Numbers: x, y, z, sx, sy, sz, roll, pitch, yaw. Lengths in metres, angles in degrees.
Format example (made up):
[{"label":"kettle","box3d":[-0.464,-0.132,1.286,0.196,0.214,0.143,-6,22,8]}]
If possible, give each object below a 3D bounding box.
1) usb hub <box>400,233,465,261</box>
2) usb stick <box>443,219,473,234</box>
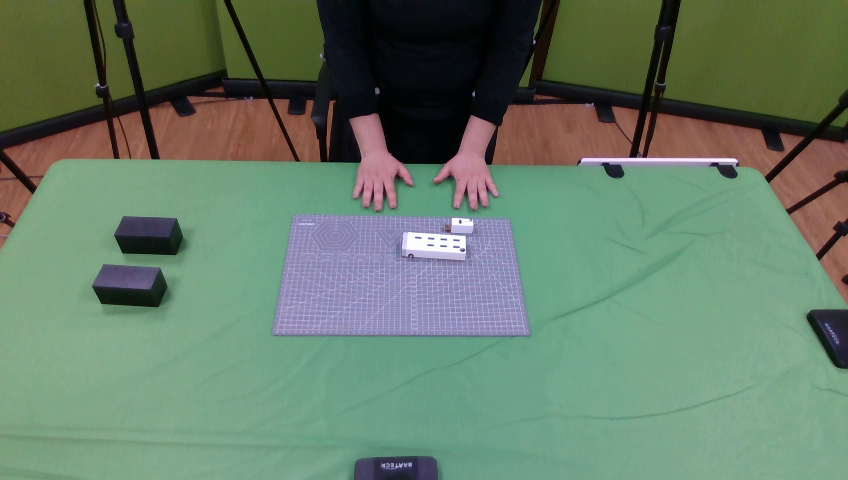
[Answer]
[{"label":"usb hub","box3d":[0.018,0.013,1.180,0.125,0.025,0.049,4,46,0]},{"label":"usb stick","box3d":[0.068,-0.027,1.223,0.059,0.027,0.021,1,45,0]}]
